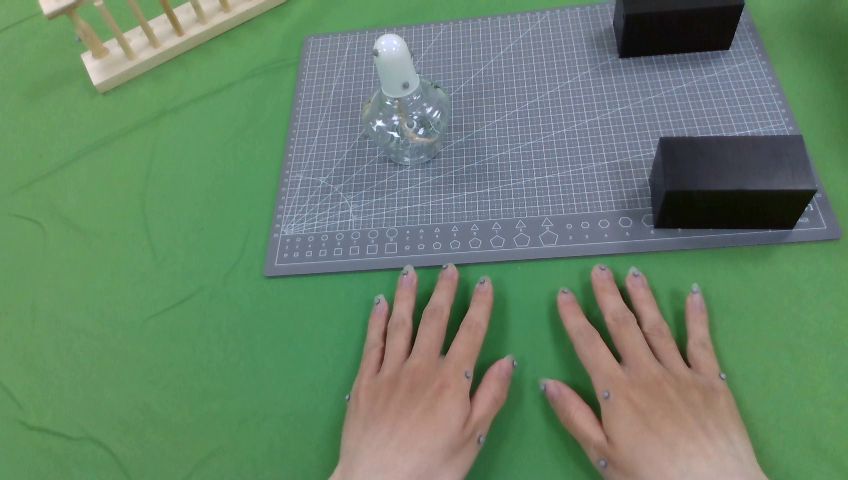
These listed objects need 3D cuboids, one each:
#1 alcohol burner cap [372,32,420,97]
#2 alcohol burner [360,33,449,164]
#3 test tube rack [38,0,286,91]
[{"bbox_3d":[-0.024,-0.140,0.478,0.034,0.048,0.033,-8,53,11],"label":"alcohol burner cap"},{"bbox_3d":[-0.019,-0.121,0.508,0.078,0.120,0.077,-4,55,7],"label":"alcohol burner"},{"bbox_3d":[-0.273,-0.267,0.660,0.242,0.086,0.066,-31,59,-11],"label":"test tube rack"}]
